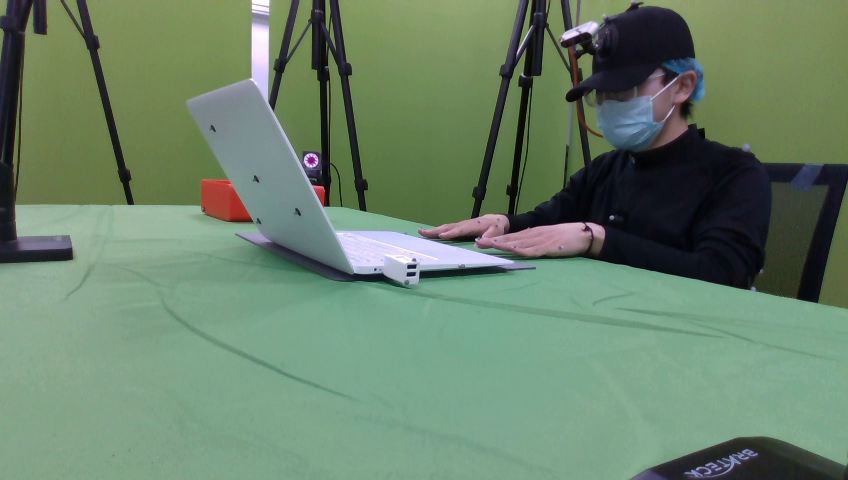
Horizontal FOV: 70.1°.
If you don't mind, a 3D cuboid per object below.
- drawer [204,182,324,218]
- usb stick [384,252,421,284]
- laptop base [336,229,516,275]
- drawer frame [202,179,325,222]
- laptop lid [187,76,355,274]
[{"bbox_3d":[-0.360,-0.091,1.358,0.213,0.073,0.193,-4,10,-36],"label":"drawer"},{"bbox_3d":[-0.028,0.029,0.675,0.021,0.027,0.059,-3,10,-33],"label":"usb stick"},{"bbox_3d":[-0.066,0.014,0.877,0.237,0.023,0.352,2,7,-32],"label":"laptop base"},{"bbox_3d":[-0.361,-0.092,1.356,0.215,0.082,0.200,-4,10,-37],"label":"drawer frame"},{"bbox_3d":[-0.211,-0.082,0.772,0.013,0.242,0.355,-34,25,-23],"label":"laptop lid"}]
